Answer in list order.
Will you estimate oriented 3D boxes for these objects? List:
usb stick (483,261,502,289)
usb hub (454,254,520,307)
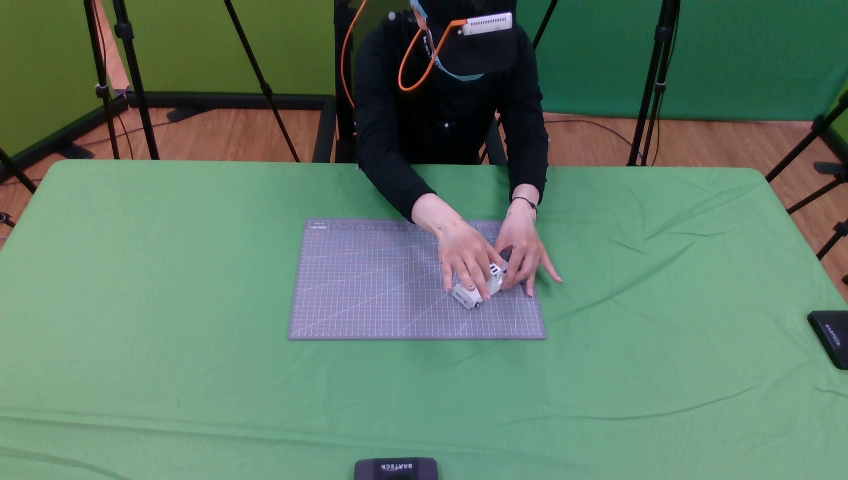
[{"bbox_3d":[0.122,0.067,1.087,0.021,0.059,0.027,-29,57,-28],"label":"usb stick"},{"bbox_3d":[0.117,0.075,1.119,0.125,0.025,0.049,-29,62,-28],"label":"usb hub"}]
